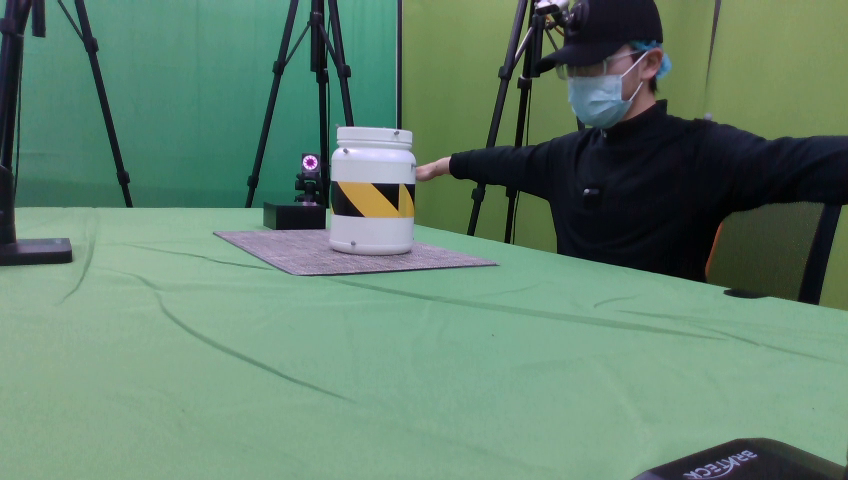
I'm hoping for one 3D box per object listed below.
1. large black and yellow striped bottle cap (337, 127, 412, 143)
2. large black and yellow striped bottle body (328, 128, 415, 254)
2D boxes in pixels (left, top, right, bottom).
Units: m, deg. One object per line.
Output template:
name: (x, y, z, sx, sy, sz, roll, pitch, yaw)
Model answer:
large black and yellow striped bottle cap: (-0.075, -0.160, 0.920, 0.115, 0.019, 0.115, 3, 8, 0)
large black and yellow striped bottle body: (-0.080, -0.077, 0.929, 0.131, 0.184, 0.130, 3, 7, 0)
